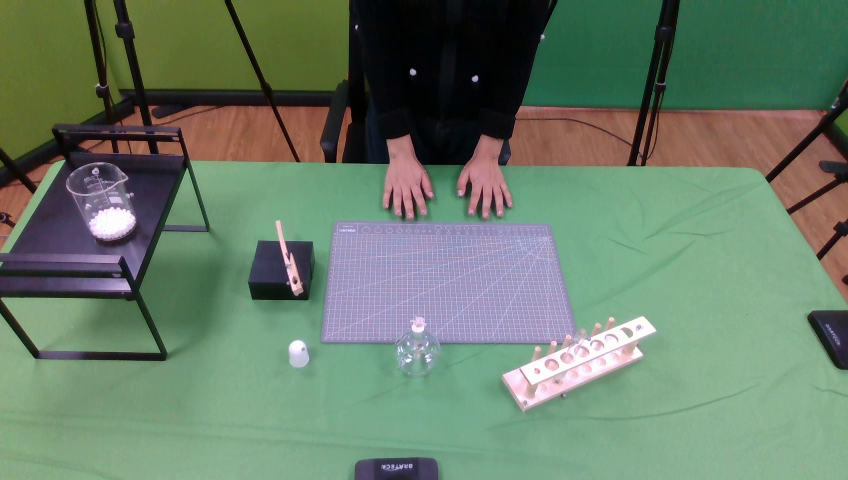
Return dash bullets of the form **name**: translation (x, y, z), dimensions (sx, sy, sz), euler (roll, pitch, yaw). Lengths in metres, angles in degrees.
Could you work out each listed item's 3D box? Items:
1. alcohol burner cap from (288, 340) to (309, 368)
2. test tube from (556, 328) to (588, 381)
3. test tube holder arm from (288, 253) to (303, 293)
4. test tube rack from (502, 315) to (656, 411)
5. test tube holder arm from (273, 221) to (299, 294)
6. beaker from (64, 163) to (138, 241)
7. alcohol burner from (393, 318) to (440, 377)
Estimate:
- **alcohol burner cap**: translation (-0.207, 0.183, 0.991), dimensions (0.034, 0.048, 0.033), euler (3, 47, -3)
- **test tube**: translation (0.224, 0.178, 0.925), dimensions (0.017, 0.151, 0.017), euler (2, 52, -2)
- **test tube holder arm**: translation (-0.227, 0.057, 1.059), dimensions (0.010, 0.015, 0.087), euler (-16, 48, -14)
- **test tube rack**: translation (0.253, 0.186, 0.989), dimensions (0.242, 0.085, 0.066), euler (-18, 50, -20)
- **test tube holder arm**: translation (-0.249, 0.028, 1.086), dimensions (0.013, 0.015, 0.177), euler (-17, 49, -15)
- **beaker**: translation (-0.477, -0.055, 0.910), dimensions (0.084, 0.101, 0.073), euler (-9, 48, -13)
- **alcohol burner**: translation (-0.011, 0.166, 0.971), dimensions (0.078, 0.120, 0.077), euler (2, 45, -1)
